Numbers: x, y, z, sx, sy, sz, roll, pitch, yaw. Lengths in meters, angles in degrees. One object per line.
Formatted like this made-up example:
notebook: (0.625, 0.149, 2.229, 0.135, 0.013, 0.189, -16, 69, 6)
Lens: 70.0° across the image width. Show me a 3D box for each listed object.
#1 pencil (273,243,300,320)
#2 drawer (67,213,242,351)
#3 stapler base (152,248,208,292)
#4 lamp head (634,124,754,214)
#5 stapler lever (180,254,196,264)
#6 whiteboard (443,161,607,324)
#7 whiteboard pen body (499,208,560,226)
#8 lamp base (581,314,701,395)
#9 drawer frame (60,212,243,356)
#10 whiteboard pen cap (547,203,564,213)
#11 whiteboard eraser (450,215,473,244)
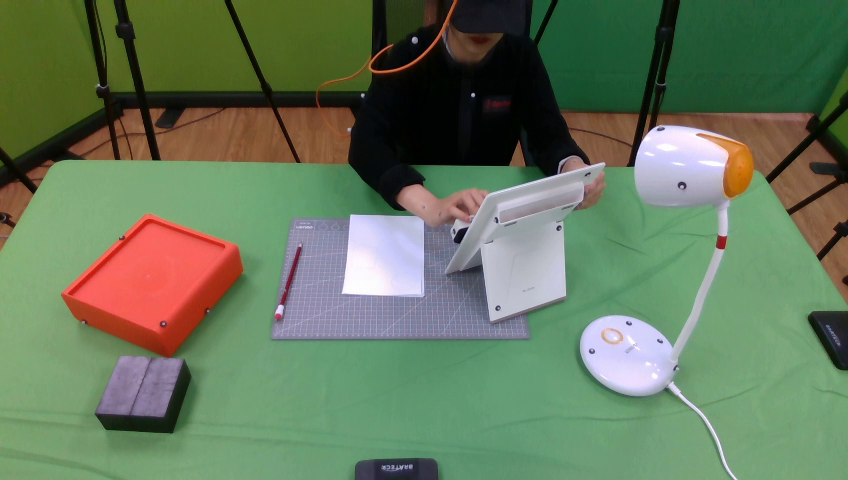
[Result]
pencil: (-0.249, 0.071, 1.115, 0.012, 0.012, 0.193, 5, 44, 1)
drawer: (-0.461, 0.068, 1.056, 0.194, 0.073, 0.211, 19, 48, 13)
stapler base: (-0.443, 0.049, 1.101, 0.130, 0.024, 0.041, 32, 37, 29)
lamp head: (0.351, -0.089, 0.776, 0.112, 0.113, 0.122, -30, 30, -28)
stapler lever: (-0.440, 0.026, 1.086, 0.117, 0.040, 0.027, 30, 36, 30)
whiteboard: (0.185, 0.026, 1.028, 0.217, 0.306, 0.143, -15, 68, -18)
whiteboard pen body: (0.221, -0.050, 1.259, 0.141, 0.017, 0.017, -14, 49, -16)
lamp base: (0.361, 0.145, 0.973, 0.178, 0.181, 0.160, 34, 53, 23)
drawer frame: (-0.462, 0.070, 1.053, 0.201, 0.083, 0.213, 18, 48, 12)
whiteboard pen cap: (0.277, -0.066, 1.275, 0.033, 0.018, 0.018, -19, 50, -15)
whiteboard eraser: (0.104, -0.024, 1.059, 0.113, 0.056, 0.041, -14, 67, -16)
